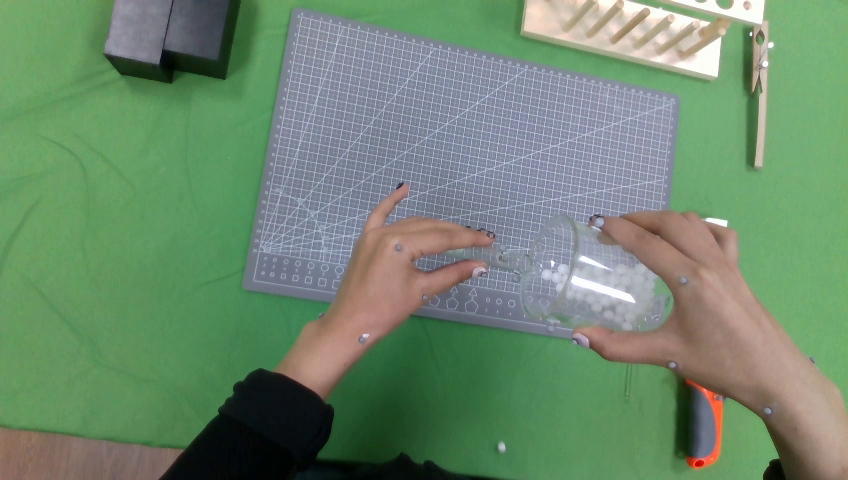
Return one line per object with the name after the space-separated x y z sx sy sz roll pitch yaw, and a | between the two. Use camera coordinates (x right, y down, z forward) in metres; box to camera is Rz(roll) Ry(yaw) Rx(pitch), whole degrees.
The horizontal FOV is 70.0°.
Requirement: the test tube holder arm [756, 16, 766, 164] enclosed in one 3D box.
0.404 -0.180 0.727 0.013 0.015 0.178 -2 84 26 | test tube holder arm

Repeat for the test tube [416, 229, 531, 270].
0.036 0.006 0.511 0.017 0.149 0.017 -6 100 -32 | test tube

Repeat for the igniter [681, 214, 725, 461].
0.316 0.108 0.684 0.057 0.025 0.276 7 84 -20 | igniter

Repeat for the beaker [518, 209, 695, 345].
0.126 0.029 0.424 0.101 0.083 0.074 18 86 -13 | beaker

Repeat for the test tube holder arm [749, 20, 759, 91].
0.400 -0.225 0.733 0.010 0.015 0.087 0 85 26 | test tube holder arm

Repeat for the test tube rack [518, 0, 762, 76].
0.235 -0.252 0.670 0.243 0.085 0.066 9 83 -10 | test tube rack

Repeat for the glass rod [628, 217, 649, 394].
0.240 0.072 0.679 0.008 0.008 0.199 9 83 -10 | glass rod
